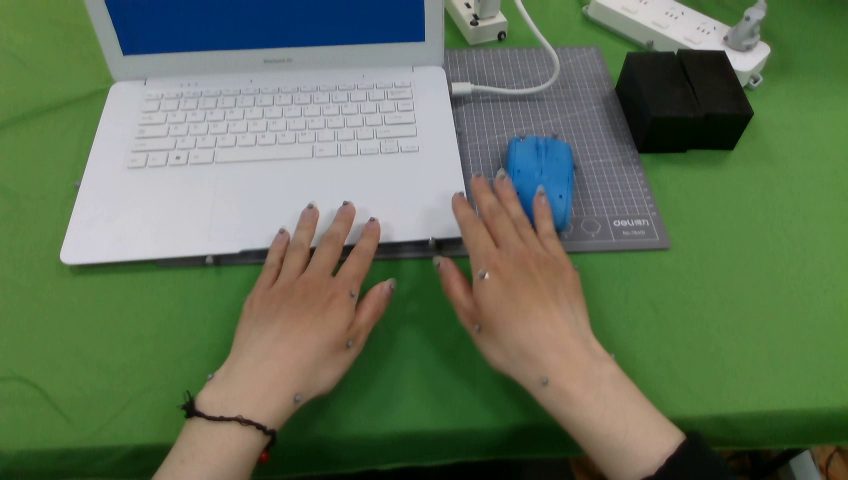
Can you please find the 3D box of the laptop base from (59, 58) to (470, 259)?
[{"bbox_3d":[-0.144,-0.087,0.588,0.355,0.023,0.233,-4,57,-4],"label":"laptop base"}]

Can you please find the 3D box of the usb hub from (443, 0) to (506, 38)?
[{"bbox_3d":[0.052,-0.296,0.742,0.049,0.025,0.124,-16,55,-13],"label":"usb hub"}]

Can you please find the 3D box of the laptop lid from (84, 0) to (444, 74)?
[{"bbox_3d":[-0.156,-0.273,0.579,0.357,0.244,0.013,-5,41,-3],"label":"laptop lid"}]

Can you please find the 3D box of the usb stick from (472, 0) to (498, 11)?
[{"bbox_3d":[0.071,-0.283,0.697,0.027,0.059,0.021,-19,55,-12],"label":"usb stick"}]

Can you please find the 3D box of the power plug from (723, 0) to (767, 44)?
[{"bbox_3d":[0.367,-0.241,0.677,0.072,0.053,0.035,-30,58,-19],"label":"power plug"}]

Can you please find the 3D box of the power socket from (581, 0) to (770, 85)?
[{"bbox_3d":[0.293,-0.253,0.712,0.225,0.033,0.072,39,61,24],"label":"power socket"}]

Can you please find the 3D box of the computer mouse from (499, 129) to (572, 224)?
[{"bbox_3d":[0.105,-0.065,0.563,0.063,0.041,0.116,7,49,7],"label":"computer mouse"}]
